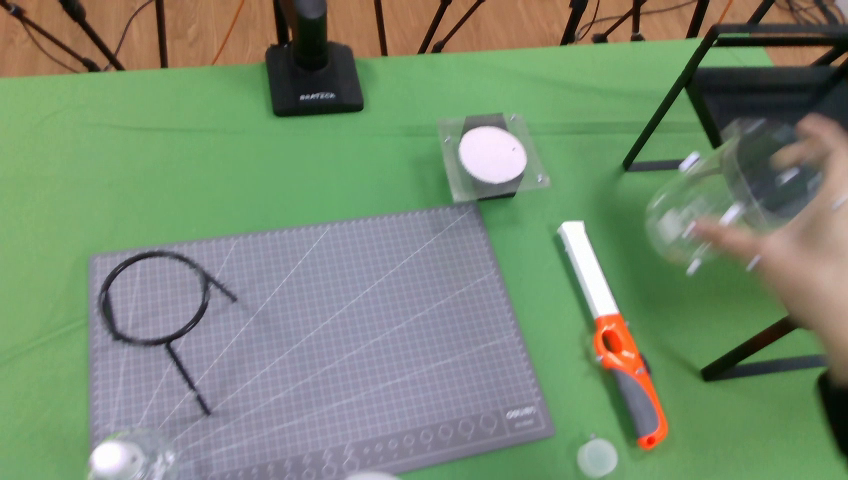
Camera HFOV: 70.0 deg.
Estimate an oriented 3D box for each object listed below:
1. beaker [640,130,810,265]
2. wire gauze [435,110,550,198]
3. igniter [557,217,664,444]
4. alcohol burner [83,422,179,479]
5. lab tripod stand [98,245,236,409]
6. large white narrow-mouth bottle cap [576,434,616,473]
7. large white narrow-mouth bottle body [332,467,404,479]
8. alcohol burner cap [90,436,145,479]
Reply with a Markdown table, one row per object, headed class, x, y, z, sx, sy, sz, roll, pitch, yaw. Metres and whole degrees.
| class | x | y | z | sx | sy | sz | roll | pitch | yaw |
| --- | --- | --- | --- | --- | --- | --- | --- | --- | --- |
| beaker | 0.217 | -0.028 | 0.457 | 0.074 | 0.100 | 0.084 | -35 | 84 | -23 |
| wire gauze | 0.083 | -0.112 | 0.747 | 0.122 | 0.011 | 0.124 | -7 | 63 | -12 |
| igniter | 0.212 | 0.094 | 0.698 | 0.057 | 0.025 | 0.274 | -3 | 62 | -22 |
| alcohol burner | -0.254 | 0.191 | 0.518 | 0.078 | 0.120 | 0.077 | 5 | 59 | -8 |
| lab tripod stand | -0.236 | 0.077 | 0.573 | 0.149 | 0.132 | 0.147 | 5 | 61 | -8 |
| large white narrow-mouth bottle cap | 0.177 | 0.222 | 0.627 | 0.038 | 0.024 | 0.037 | 3 | 60 | -6 |
| large white narrow-mouth bottle body | -0.046 | 0.237 | 0.481 | 0.102 | 0.196 | 0.101 | 3 | 60 | -6 |
| alcohol burner cap | -0.249 | 0.174 | 0.487 | 0.034 | 0.048 | 0.033 | 3 | 66 | -7 |
